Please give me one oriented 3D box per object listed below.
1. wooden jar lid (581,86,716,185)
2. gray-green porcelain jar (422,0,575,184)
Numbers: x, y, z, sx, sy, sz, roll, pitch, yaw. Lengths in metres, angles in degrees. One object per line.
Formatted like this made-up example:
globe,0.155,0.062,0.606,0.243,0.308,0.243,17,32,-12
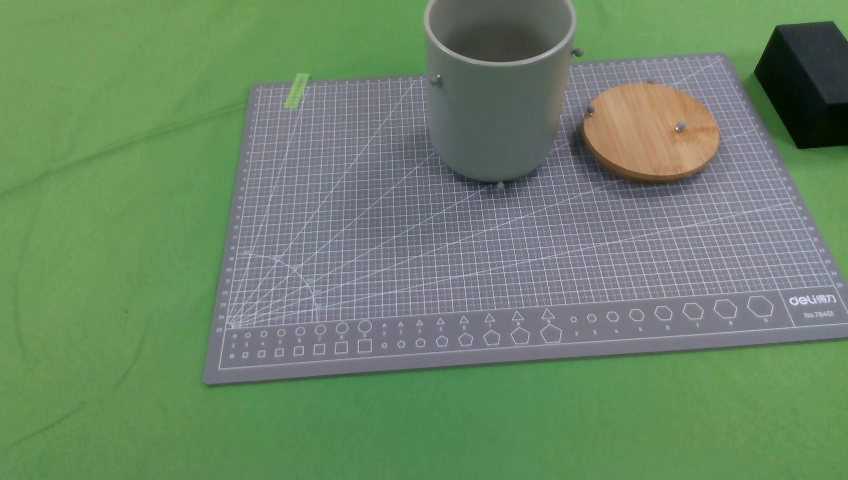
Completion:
wooden jar lid,0.185,-0.086,0.506,0.108,0.021,0.107,-2,54,2
gray-green porcelain jar,0.053,-0.114,0.466,0.106,0.127,0.105,-1,55,2
